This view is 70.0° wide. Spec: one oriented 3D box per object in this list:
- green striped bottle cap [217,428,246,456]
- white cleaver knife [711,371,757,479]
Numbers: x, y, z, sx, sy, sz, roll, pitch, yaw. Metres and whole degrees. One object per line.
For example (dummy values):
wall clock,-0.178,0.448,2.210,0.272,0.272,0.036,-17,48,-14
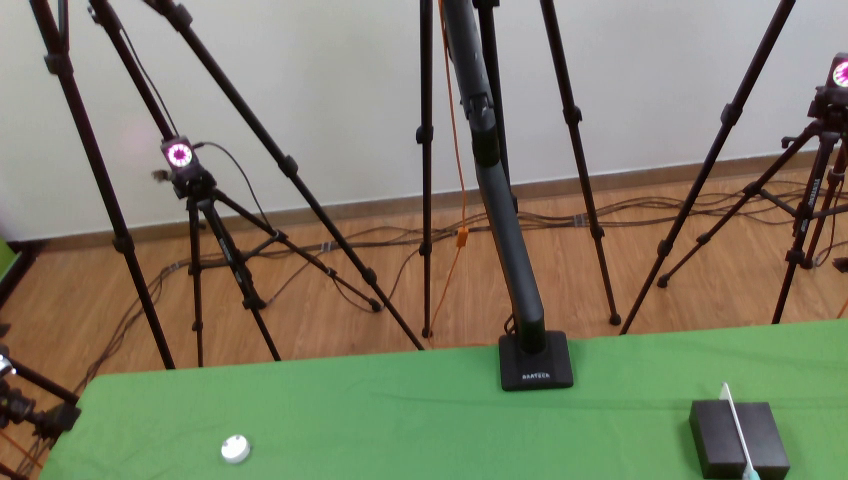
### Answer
green striped bottle cap,-0.323,0.340,1.018,0.044,0.020,0.044,-7,43,7
white cleaver knife,0.438,0.308,0.835,0.021,0.066,0.284,-7,40,14
